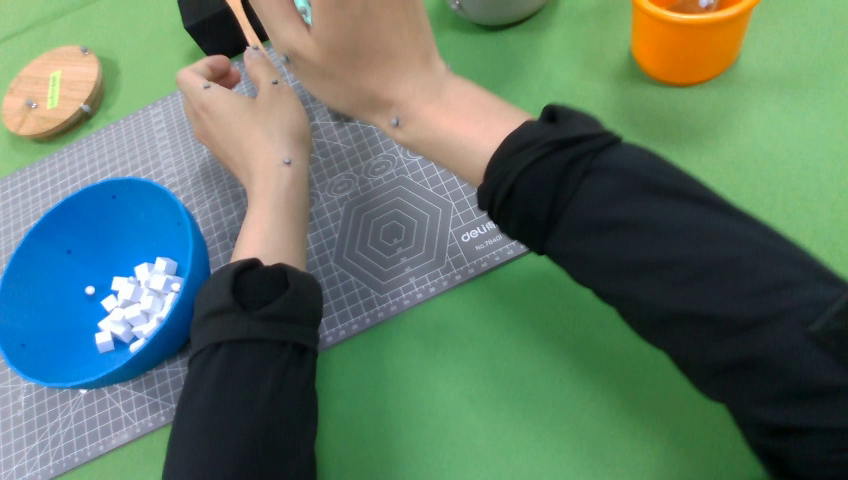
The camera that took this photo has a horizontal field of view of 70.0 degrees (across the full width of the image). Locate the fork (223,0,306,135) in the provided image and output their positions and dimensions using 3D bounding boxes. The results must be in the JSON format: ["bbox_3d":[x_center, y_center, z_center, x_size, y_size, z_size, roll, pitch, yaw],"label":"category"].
[{"bbox_3d":[-0.150,-0.178,0.516,0.028,0.019,0.206,-28,80,-3],"label":"fork"}]

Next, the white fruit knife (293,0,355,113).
[{"bbox_3d":[-0.105,-0.198,0.514,0.016,0.027,0.206,-26,75,1],"label":"white fruit knife"}]

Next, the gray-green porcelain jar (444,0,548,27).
[{"bbox_3d":[0.052,-0.241,0.468,0.105,0.128,0.105,-6,64,13],"label":"gray-green porcelain jar"}]

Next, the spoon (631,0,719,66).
[{"bbox_3d":[0.212,-0.184,0.387,0.022,0.194,0.041,0,60,-35],"label":"spoon"}]

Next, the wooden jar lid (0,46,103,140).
[{"bbox_3d":[-0.360,-0.142,0.591,0.108,0.021,0.107,-5,64,11],"label":"wooden jar lid"}]

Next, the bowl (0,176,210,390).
[{"bbox_3d":[-0.210,0.038,0.431,0.151,0.077,0.150,-6,64,12],"label":"bowl"}]
